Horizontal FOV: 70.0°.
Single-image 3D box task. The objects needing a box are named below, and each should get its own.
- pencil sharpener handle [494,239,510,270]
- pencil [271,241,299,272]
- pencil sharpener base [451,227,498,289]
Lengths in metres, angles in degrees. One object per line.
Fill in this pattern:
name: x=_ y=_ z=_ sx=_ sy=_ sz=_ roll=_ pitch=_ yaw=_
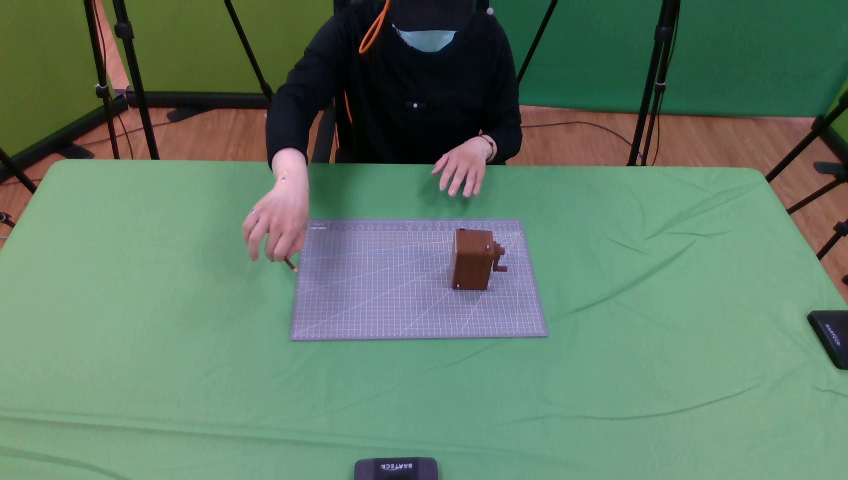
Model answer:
pencil sharpener handle: x=0.143 y=0.029 z=1.094 sx=0.030 sy=0.068 sz=0.036 roll=3 pitch=42 yaw=-1
pencil: x=-0.243 y=0.028 z=1.058 sx=0.012 sy=0.012 sz=0.193 roll=-20 pitch=22 yaw=-21
pencil sharpener base: x=0.091 y=0.034 z=1.103 sx=0.077 sy=0.107 sz=0.061 roll=3 pitch=46 yaw=-1
